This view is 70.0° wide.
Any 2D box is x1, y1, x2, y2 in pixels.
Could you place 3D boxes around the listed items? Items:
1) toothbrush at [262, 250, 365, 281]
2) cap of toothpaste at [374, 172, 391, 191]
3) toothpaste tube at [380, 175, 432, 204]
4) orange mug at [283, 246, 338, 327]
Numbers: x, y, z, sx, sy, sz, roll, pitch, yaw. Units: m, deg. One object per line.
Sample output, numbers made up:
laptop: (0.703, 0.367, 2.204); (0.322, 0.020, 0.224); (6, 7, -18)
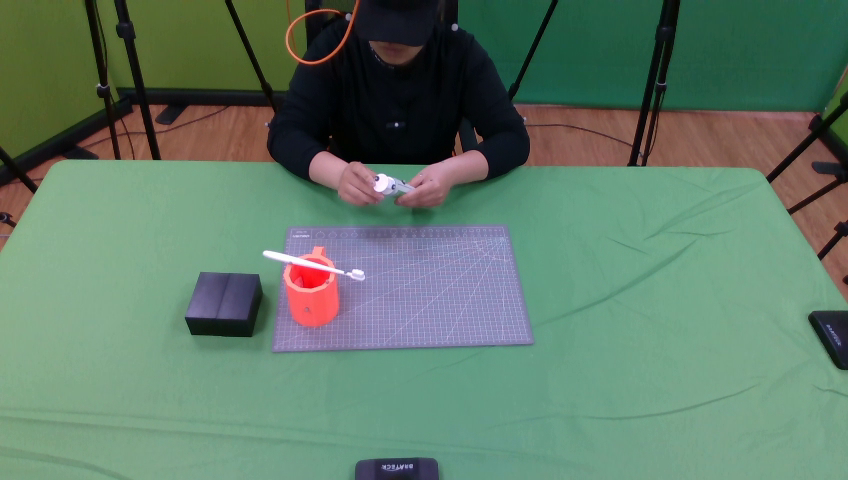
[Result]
toothbrush: (-0.186, 0.041, 1.015); (0.182, 0.017, 0.014); (13, 54, 8)
cap of toothpaste: (-0.077, -0.109, 1.124); (0.037, 0.011, 0.037); (-5, 79, 28)
toothpaste tube: (-0.041, -0.097, 1.193); (0.055, 0.166, 0.034); (-11, 77, 23)
orange mug: (-0.193, 0.074, 1.056); (0.083, 0.101, 0.125); (5, 50, 1)
